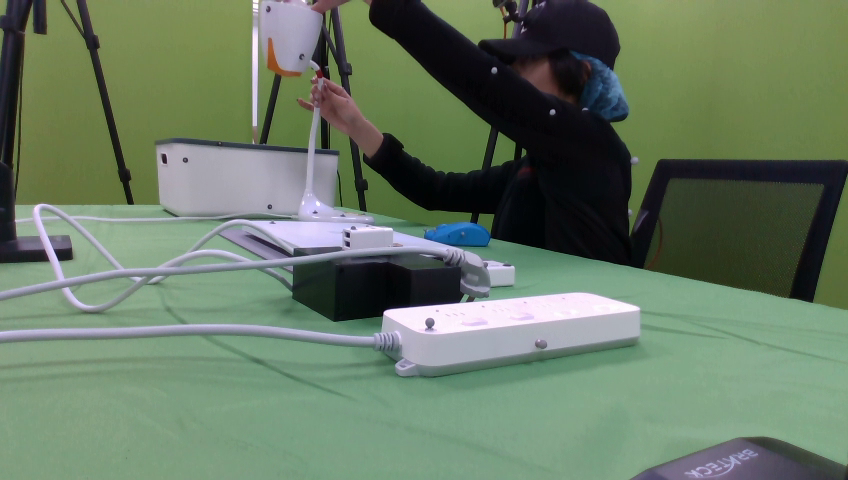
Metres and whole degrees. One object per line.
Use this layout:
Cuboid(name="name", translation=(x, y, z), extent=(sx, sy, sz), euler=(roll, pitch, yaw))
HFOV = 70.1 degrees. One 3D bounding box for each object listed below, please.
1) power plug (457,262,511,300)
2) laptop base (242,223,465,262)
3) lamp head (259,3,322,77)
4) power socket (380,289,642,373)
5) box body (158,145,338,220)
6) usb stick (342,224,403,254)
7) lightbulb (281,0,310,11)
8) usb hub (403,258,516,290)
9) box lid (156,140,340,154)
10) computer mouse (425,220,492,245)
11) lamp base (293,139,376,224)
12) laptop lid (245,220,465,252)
Cuboid(name="power plug", translation=(0.052, 0.051, 0.543), extent=(0.035, 0.052, 0.072), euler=(6, 37, -19))
Cuboid(name="laptop base", translation=(-0.126, 0.003, 0.946), extent=(0.237, 0.023, 0.352), euler=(2, 6, -31))
Cuboid(name="lamp head", translation=(-0.246, -0.360, 1.106), extent=(0.112, 0.123, 0.112), euler=(7, 15, -2))
Cuboid(name="power socket", translation=(0.072, 0.064, 0.461), extent=(0.228, 0.032, 0.072), euler=(-2, 8, -30))
Cuboid(name="box body", translation=(-0.410, -0.139, 1.414), extent=(0.366, 0.160, 0.253), euler=(-2, 8, -33))
Cuboid(name="usb stick", translation=(-0.047, -0.001, 0.567), extent=(0.059, 0.027, 0.021), euler=(0, 5, -32))
Cuboid(name="lightbulb", translation=(-0.238, -0.382, 1.095), extent=(0.059, 0.107, 0.059), euler=(14, 12, -3))
Cuboid(name="usb hub", translation=(0.042, 0.038, 0.690), extent=(0.126, 0.025, 0.049), euler=(-2, 9, -30))
Cuboid(name="box lid", translation=(-0.409, -0.212, 1.404), extent=(0.373, 0.015, 0.262), euler=(-2, 8, -32))
Cuboid(name="computer mouse", translation=(0.060, -0.013, 1.060), extent=(0.117, 0.041, 0.062), euler=(-2, 9, -6))
Cuboid(name="lamp base", translation=(-0.191, -0.121, 1.257), extent=(0.179, 0.180, 0.161), euler=(0, 6, 7))
Cuboid(name="laptop lid", translation=(-0.124, -0.009, 0.945), extent=(0.243, 0.013, 0.355), euler=(1, 7, -29))
